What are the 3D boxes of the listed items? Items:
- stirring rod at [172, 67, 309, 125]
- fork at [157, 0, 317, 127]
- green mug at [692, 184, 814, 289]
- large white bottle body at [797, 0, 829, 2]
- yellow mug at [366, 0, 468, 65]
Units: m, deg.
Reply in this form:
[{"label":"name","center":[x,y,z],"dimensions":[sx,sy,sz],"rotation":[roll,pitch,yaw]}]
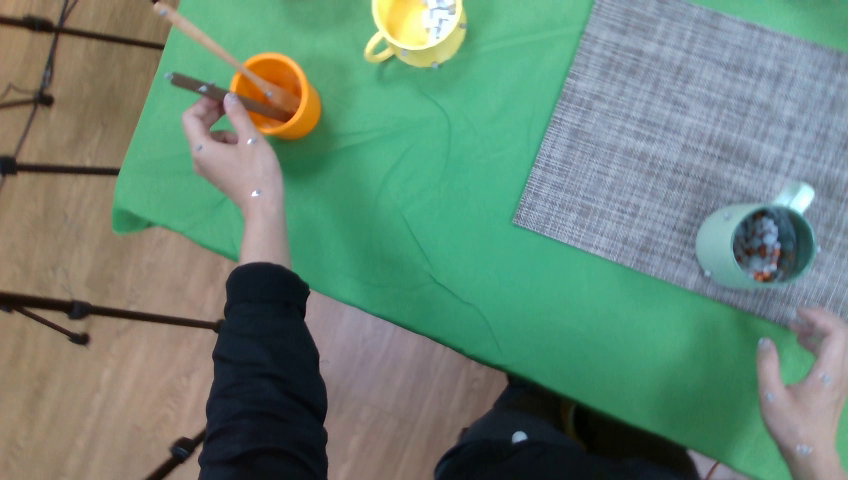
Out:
[{"label":"stirring rod","center":[-0.194,-0.155,0.664],"dimensions":[0.006,0.177,0.014],"rotation":[-3,82,37]},{"label":"fork","center":[-0.204,-0.198,0.681],"dimensions":[0.028,0.018,0.209],"rotation":[-51,127,3]},{"label":"green mug","center":[0.349,-0.007,0.630],"dimensions":[0.092,0.105,0.125],"rotation":[39,94,7]},{"label":"large white bottle body","center":[0.421,-0.329,0.586],"dimensions":[0.130,0.185,0.130],"rotation":[0,89,8]},{"label":"yellow mug","center":[-0.014,-0.251,0.700],"dimensions":[0.131,0.064,0.100],"rotation":[-36,86,6]}]
